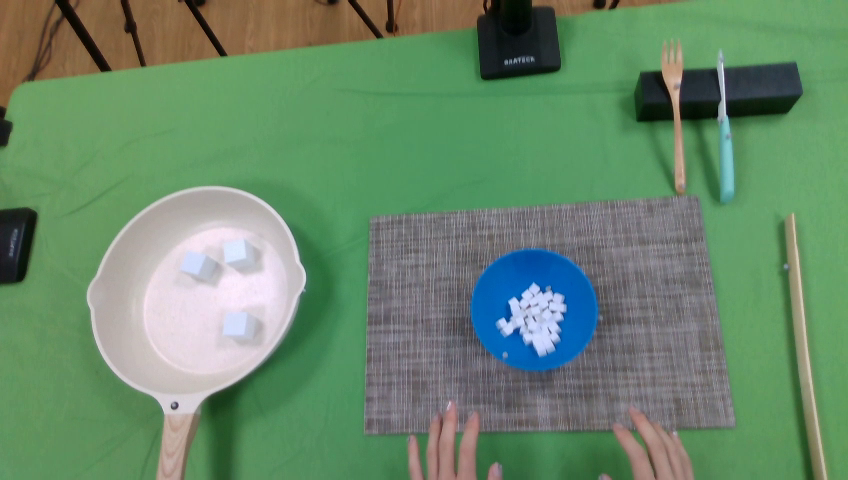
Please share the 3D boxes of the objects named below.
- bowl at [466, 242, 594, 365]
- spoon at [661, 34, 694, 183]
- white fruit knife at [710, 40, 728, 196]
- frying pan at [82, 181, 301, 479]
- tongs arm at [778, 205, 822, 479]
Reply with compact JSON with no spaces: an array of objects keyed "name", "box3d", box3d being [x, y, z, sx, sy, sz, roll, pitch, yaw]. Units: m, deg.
[{"name":"bowl","box3d":[0.130,0.085,0.752,0.151,0.077,0.150,-2,71,7]},{"name":"spoon","box3d":[0.331,-0.173,0.806,0.041,0.022,0.194,5,93,33]},{"name":"white fruit knife","box3d":[0.387,-0.163,0.800,0.016,0.027,0.207,-2,86,3]},{"name":"frying pan","box3d":[-0.307,0.157,0.783,0.306,0.103,0.483,-4,63,8]},{"name":"tongs arm","box3d":[0.453,0.141,0.717,0.028,0.028,0.385,1,72,7]}]
